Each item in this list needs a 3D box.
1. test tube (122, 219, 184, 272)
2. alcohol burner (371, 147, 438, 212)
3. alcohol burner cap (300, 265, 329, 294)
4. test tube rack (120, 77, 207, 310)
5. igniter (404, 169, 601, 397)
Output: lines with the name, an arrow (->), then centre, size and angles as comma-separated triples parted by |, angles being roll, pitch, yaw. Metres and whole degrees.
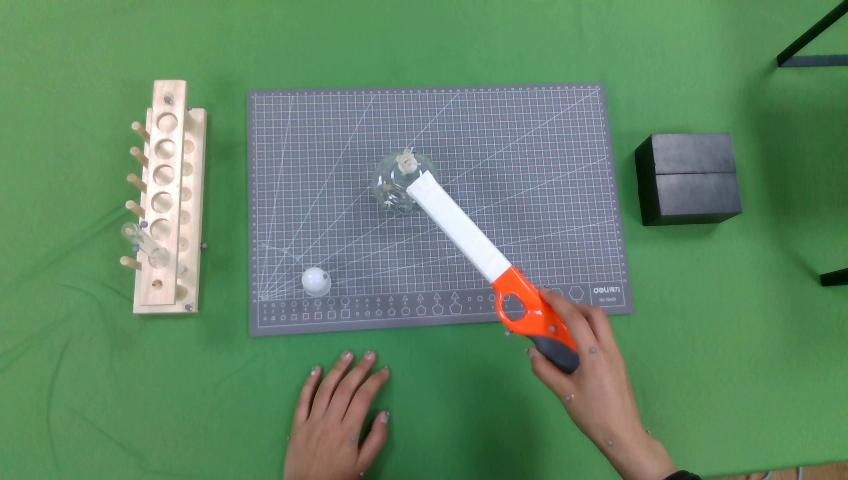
test tube -> -0.267, 0.009, 0.606 | 0.017, 0.151, 0.017 | 2, 74, -6
alcohol burner -> -0.021, -0.072, 0.678 | 0.078, 0.119, 0.077 | 1, 79, -4
alcohol burner cap -> -0.125, 0.042, 0.681 | 0.034, 0.048, 0.033 | 1, 78, -5
test tube rack -> -0.289, -0.048, 0.666 | 0.067, 0.085, 0.241 | -1, 78, -5
igniter -> 0.081, 0.042, 0.605 | 0.057, 0.025, 0.276 | -41, 88, -3
